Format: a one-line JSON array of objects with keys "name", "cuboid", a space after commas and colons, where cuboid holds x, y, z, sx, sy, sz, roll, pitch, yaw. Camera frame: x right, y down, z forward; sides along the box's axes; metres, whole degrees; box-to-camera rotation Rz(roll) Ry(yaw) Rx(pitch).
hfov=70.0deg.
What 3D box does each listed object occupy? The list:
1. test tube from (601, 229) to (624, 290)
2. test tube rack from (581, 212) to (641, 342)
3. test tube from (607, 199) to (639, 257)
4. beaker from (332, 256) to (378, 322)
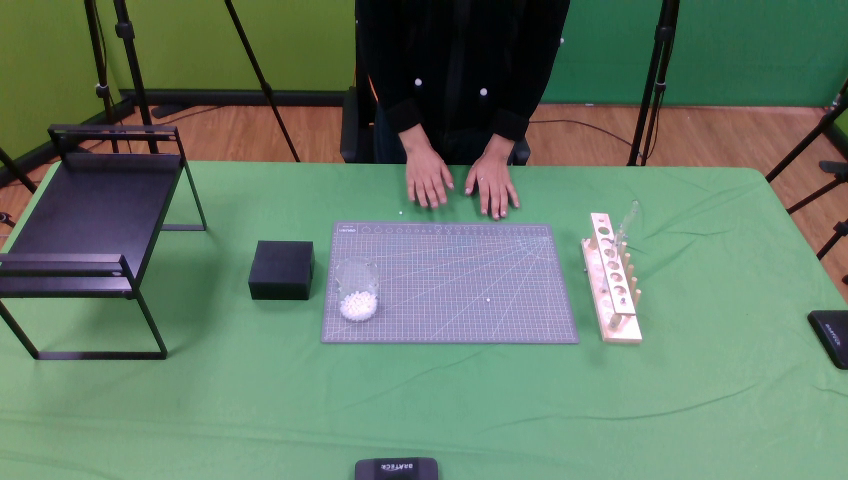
[{"name": "test tube", "cuboid": [0.333, 0.037, 1.075, 0.017, 0.151, 0.017, -1, 46, 2]}, {"name": "test tube rack", "cuboid": [0.351, 0.063, 1.121, 0.067, 0.085, 0.241, 2, 46, -1]}, {"name": "test tube", "cuboid": [0.374, -0.020, 1.140, 0.017, 0.151, 0.017, 3, 47, -3]}, {"name": "beaker", "cuboid": [-0.114, 0.089, 1.047, 0.083, 0.101, 0.074, 30, 52, 21]}]
